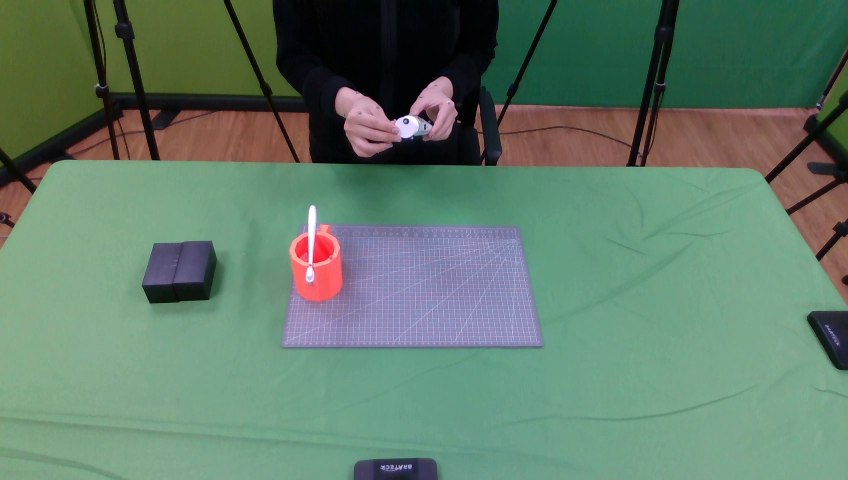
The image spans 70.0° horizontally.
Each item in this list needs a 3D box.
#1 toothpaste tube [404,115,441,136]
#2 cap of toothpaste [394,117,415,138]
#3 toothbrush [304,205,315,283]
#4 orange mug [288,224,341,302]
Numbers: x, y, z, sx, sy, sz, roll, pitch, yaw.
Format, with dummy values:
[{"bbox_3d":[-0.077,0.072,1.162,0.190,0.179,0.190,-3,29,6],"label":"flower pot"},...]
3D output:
[{"bbox_3d":[-0.010,-0.205,1.084,0.055,0.034,0.165,38,20,3],"label":"toothpaste tube"},{"bbox_3d":[-0.032,-0.188,1.006,0.037,0.037,0.011,7,27,3],"label":"cap of toothpaste"},{"bbox_3d":[-0.199,0.001,1.052,0.014,0.017,0.180,-4,46,-4],"label":"toothbrush"},{"bbox_3d":[-0.192,0.034,1.094,0.083,0.101,0.125,7,50,2],"label":"orange mug"}]
